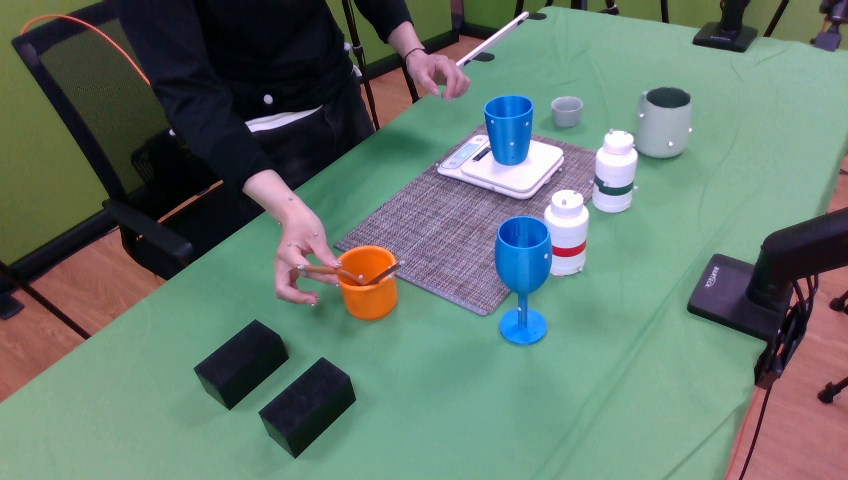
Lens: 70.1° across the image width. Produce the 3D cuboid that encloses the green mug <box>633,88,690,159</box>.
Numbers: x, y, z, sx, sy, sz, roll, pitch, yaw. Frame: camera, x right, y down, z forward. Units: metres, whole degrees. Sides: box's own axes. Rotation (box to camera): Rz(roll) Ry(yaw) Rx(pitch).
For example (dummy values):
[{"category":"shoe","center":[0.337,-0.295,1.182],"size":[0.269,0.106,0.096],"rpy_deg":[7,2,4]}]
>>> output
[{"category":"green mug","center":[0.423,-0.217,1.099],"size":[0.093,0.105,0.124],"rpy_deg":[-16,41,-10]}]

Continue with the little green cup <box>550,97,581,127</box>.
[{"category":"little green cup","center":[0.284,-0.255,1.213],"size":[0.061,0.039,0.061],"rpy_deg":[-5,41,5]}]

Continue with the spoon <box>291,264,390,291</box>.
[{"category":"spoon","center":[-0.111,0.049,0.822],"size":[0.041,0.195,0.021],"rpy_deg":[5,79,34]}]

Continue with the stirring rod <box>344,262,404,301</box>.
[{"category":"stirring rod","center":[-0.070,0.058,0.814],"size":[0.014,0.175,0.006],"rpy_deg":[-21,82,-34]}]

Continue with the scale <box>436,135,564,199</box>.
[{"category":"scale","center":[0.137,-0.142,1.101],"size":[0.199,0.032,0.149],"rpy_deg":[22,48,30]}]

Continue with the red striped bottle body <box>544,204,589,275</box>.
[{"category":"red striped bottle body","center":[0.206,-0.011,0.877],"size":[0.063,0.120,0.062],"rpy_deg":[-5,41,4]}]

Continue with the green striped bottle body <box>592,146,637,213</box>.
[{"category":"green striped bottle body","center":[0.307,-0.108,0.976],"size":[0.063,0.120,0.063],"rpy_deg":[-4,41,4]}]

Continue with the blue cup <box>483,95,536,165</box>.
[{"category":"blue cup","center":[0.149,-0.188,1.053],"size":[0.092,0.100,0.092],"rpy_deg":[-6,39,5]}]

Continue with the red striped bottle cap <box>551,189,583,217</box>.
[{"category":"red striped bottle cap","center":[0.200,-0.052,0.843],"size":[0.044,0.018,0.044],"rpy_deg":[-2,43,2]}]

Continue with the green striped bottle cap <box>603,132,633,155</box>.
[{"category":"green striped bottle cap","center":[0.302,-0.149,0.938],"size":[0.044,0.020,0.044],"rpy_deg":[-3,39,3]}]

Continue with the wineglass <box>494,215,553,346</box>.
[{"category":"wineglass","center":[0.127,0.055,0.770],"size":[0.074,0.173,0.073],"rpy_deg":[-4,40,4]}]
